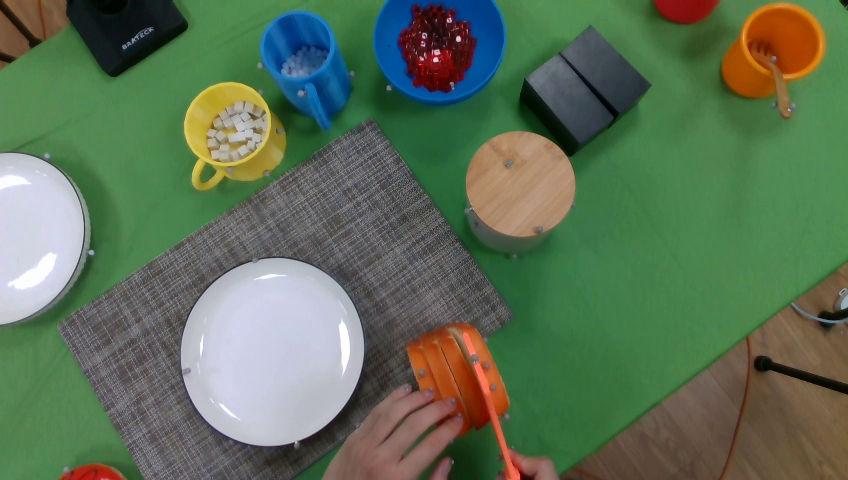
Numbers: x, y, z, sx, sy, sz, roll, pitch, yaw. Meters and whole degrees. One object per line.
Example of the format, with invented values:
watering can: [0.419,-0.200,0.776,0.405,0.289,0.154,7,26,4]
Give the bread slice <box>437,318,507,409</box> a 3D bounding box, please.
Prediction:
bread slice: [0.051,0.129,0.633,0.019,0.131,0.104,-24,85,-12]

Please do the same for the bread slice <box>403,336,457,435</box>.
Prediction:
bread slice: [0.006,0.148,0.632,0.018,0.135,0.106,-25,79,-3]

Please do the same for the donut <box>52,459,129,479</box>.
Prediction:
donut: [-0.370,0.292,0.668,0.099,0.048,0.098,0,80,0]

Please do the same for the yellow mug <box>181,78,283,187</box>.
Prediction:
yellow mug: [-0.233,-0.118,0.712,0.099,0.064,0.130,32,85,7]

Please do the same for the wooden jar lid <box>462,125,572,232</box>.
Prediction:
wooden jar lid: [0.091,-0.060,0.600,0.108,0.021,0.108,0,81,-1]

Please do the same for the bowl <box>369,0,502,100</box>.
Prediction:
bowl: [0.015,-0.227,0.714,0.151,0.077,0.151,0,82,2]

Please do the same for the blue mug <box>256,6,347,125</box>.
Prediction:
blue mug: [-0.134,-0.191,0.700,0.082,0.106,0.116,-16,81,0]

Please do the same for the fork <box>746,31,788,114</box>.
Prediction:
fork: [0.375,-0.187,0.660,0.028,0.019,0.206,27,39,-1]

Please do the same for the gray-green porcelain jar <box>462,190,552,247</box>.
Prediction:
gray-green porcelain jar: [0.095,-0.050,0.661,0.106,0.127,0.105,0,81,2]

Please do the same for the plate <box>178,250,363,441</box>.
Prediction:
plate: [-0.169,0.117,0.686,0.209,0.038,0.208,0,81,2]

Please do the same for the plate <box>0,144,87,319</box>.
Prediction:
plate: [-0.498,-0.009,0.719,0.207,0.039,0.207,0,82,2]

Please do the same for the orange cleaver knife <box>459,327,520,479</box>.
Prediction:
orange cleaver knife: [0.068,0.178,0.568,0.012,0.076,0.213,-20,114,-3]
